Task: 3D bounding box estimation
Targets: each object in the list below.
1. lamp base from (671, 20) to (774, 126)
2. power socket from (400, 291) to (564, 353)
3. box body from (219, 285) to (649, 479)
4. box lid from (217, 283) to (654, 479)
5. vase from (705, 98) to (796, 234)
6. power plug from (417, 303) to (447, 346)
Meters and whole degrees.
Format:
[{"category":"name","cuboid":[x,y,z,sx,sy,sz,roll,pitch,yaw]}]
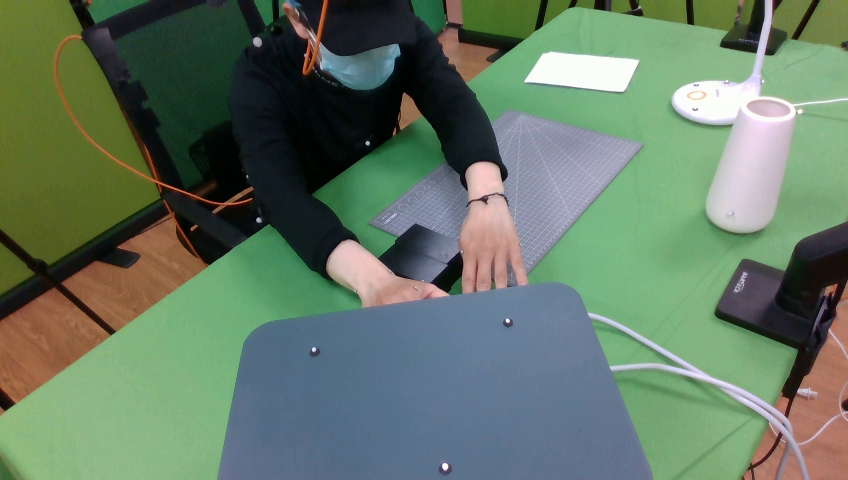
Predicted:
[{"category":"lamp base","cuboid":[0.581,-0.332,1.154,0.179,0.181,0.160,2,41,7]},{"category":"power socket","cuboid":[0.079,0.111,0.823,0.227,0.033,0.072,-5,41,2]},{"category":"box body","cuboid":[0.005,0.210,0.618,0.364,0.161,0.252,-8,40,-1]},{"category":"box lid","cuboid":[-0.004,0.154,0.571,0.372,0.015,0.261,-8,40,-1]},{"category":"vase","cuboid":[0.480,-0.104,0.889,0.098,0.201,0.097,-4,42,4]},{"category":"power plug","cuboid":[0.010,0.114,0.779,0.035,0.053,0.072,-6,55,1]}]
